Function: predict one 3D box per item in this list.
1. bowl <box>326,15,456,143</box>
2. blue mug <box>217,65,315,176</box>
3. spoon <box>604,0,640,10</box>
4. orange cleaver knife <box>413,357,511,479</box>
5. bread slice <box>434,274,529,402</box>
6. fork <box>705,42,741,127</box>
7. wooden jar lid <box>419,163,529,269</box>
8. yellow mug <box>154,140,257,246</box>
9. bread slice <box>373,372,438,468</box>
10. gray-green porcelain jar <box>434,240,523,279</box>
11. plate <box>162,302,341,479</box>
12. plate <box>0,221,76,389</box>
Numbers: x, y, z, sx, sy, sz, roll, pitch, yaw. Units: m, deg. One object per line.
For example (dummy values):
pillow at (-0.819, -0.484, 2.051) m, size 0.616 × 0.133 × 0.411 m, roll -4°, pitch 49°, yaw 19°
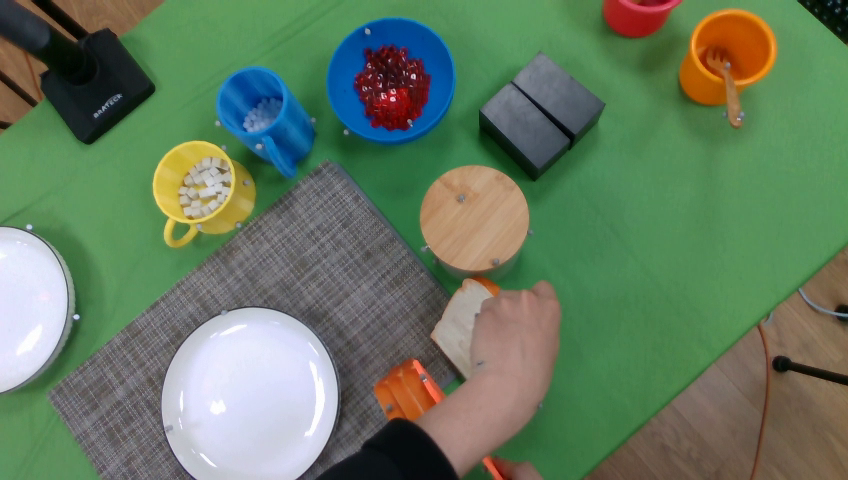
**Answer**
bowl at (-0.034, -0.180, 0.728) m, size 0.151 × 0.077 × 0.151 m, roll -1°, pitch 80°, yaw 6°
blue mug at (-0.180, -0.131, 0.720) m, size 0.082 × 0.106 × 0.116 m, roll -20°, pitch 78°, yaw 2°
spoon at (0.292, -0.311, 0.684) m, size 0.193 × 0.022 × 0.041 m, roll -13°, pitch 67°, yaw 49°
orange cleaver knife at (0.054, 0.202, 0.599) m, size 0.012 × 0.077 × 0.212 m, roll -36°, pitch 102°, yaw -3°
bread slice at (0.063, 0.099, 0.643) m, size 0.019 × 0.132 × 0.104 m, roll -22°, pitch 60°, yaw -35°
fork at (0.325, -0.172, 0.654) m, size 0.028 × 0.019 × 0.206 m, roll 22°, pitch 39°, yaw 3°
wooden jar lid at (0.050, -0.023, 0.603) m, size 0.108 × 0.021 × 0.108 m, roll 0°, pitch 80°, yaw 3°
yellow mug at (-0.271, -0.050, 0.734) m, size 0.099 × 0.064 × 0.130 m, roll 27°, pitch 85°, yaw 10°
bread slice at (-0.019, 0.184, 0.634) m, size 0.018 × 0.135 × 0.106 m, roll -33°, pitch 77°, yaw -4°
gray-green porcelain jar at (0.057, -0.012, 0.664) m, size 0.106 × 0.127 × 0.105 m, roll -1°, pitch 79°, yaw 5°
plate at (-0.194, 0.177, 0.697) m, size 0.209 × 0.038 × 0.208 m, roll -1°, pitch 80°, yaw 6°
plate at (-0.526, 0.081, 0.751) m, size 0.207 × 0.039 × 0.207 m, roll -1°, pitch 80°, yaw 5°
